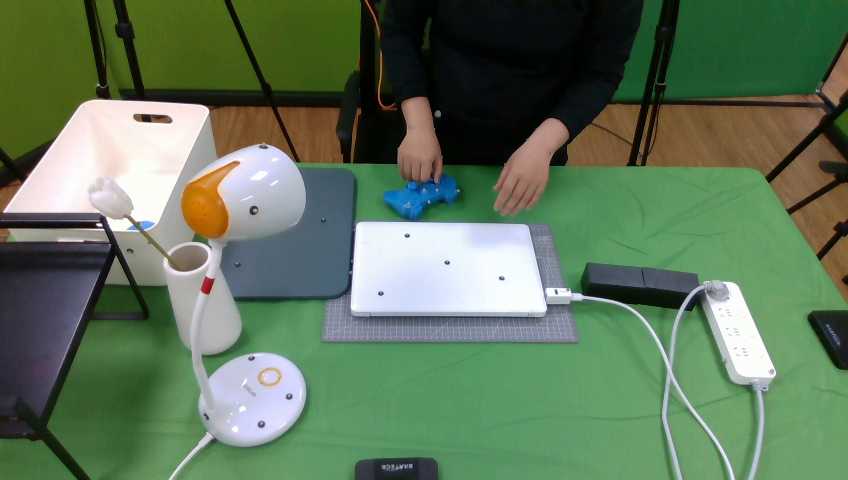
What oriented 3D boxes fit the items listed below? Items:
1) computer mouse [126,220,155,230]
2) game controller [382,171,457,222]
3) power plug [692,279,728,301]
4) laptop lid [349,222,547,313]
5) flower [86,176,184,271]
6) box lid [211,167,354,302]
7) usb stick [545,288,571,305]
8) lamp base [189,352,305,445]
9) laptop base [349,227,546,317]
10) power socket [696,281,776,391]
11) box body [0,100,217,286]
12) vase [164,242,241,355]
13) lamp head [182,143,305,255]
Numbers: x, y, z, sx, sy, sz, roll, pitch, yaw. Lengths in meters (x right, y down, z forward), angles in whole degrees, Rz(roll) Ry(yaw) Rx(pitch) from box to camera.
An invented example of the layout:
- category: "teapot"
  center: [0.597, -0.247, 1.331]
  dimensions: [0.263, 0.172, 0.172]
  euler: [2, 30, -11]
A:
- category: "computer mouse"
  center: [-0.537, 0.008, 1.127]
  dimensions: [0.062, 0.041, 0.117]
  euler: [32, 56, 20]
- category: "game controller"
  center: [-0.003, -0.101, 1.277]
  dimensions: [0.155, 0.052, 0.096]
  euler: [-26, 60, -25]
- category: "power plug"
  center: [0.522, 0.092, 1.115]
  dimensions: [0.072, 0.053, 0.035]
  euler: [9, 46, 7]
- category: "laptop lid"
  center: [0.041, 0.046, 1.143]
  dimensions: [0.357, 0.013, 0.240]
  euler: [2, 44, -3]
- category: "flower"
  center: [-0.365, 0.038, 0.894]
  dimensions: [0.038, 0.364, 0.044]
  euler: [-4, 53, 15]
- category: "box lid"
  center: [-0.276, -0.024, 1.205]
  dimensions: [0.263, 0.015, 0.369]
  euler: [0, 46, -4]
- category: "usb stick"
  center: [0.236, 0.102, 1.101]
  dimensions: [0.059, 0.027, 0.021]
  euler: [-2, 46, 1]
- category: "lamp base"
  center: [-0.268, 0.196, 0.876]
  dimensions: [0.160, 0.181, 0.179]
  euler: [26, 52, 20]
- category: "laptop base"
  center: [0.040, 0.055, 1.149]
  dimensions: [0.355, 0.023, 0.234]
  euler: [1, 43, -4]
- category: "power socket"
  center: [0.550, 0.160, 1.078]
  dimensions: [0.072, 0.033, 0.225]
  euler: [2, 46, -1]
- category: "box body"
  center: [-0.559, -0.092, 1.145]
  dimensions: [0.254, 0.161, 0.361]
  euler: [3, 46, -2]
- category: "vase"
  center: [-0.349, 0.096, 0.954]
  dimensions: [0.098, 0.201, 0.097]
  euler: [3, 47, -3]
- category: "lamp head"
  center: [-0.216, -0.044, 0.697]
  dimensions: [0.112, 0.113, 0.123]
  euler: [23, 31, 17]
